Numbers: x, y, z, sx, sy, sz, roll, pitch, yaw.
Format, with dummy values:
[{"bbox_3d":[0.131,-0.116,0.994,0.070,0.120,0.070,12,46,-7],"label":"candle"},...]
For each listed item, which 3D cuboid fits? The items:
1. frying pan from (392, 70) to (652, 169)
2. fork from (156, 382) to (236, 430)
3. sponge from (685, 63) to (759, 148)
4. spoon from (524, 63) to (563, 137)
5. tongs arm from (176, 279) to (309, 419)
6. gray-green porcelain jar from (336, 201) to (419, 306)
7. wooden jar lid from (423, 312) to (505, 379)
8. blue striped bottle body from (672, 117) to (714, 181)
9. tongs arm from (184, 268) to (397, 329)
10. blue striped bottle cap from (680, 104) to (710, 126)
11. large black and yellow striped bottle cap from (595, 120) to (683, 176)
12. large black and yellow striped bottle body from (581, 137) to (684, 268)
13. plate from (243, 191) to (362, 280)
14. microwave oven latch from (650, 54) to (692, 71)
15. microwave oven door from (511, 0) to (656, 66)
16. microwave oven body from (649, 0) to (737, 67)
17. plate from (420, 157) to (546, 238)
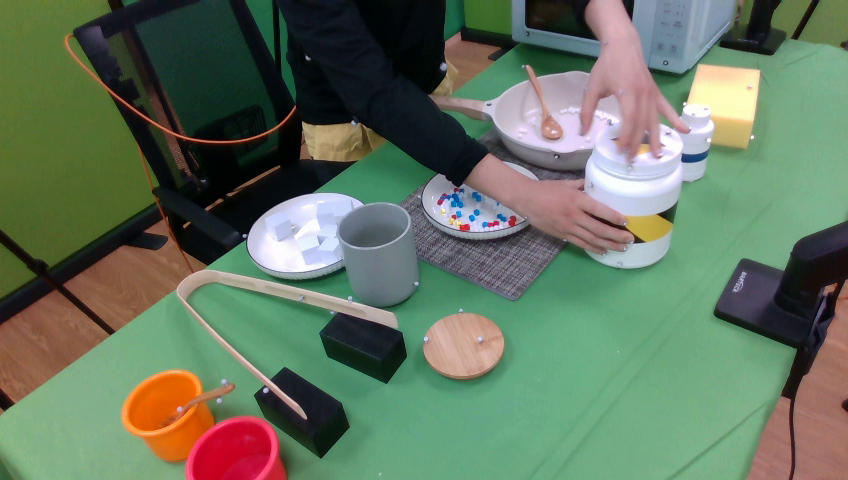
[{"bbox_3d":[0.176,-0.248,1.165,0.487,0.103,0.306,12,43,9],"label":"frying pan"},{"bbox_3d":[-0.262,0.189,0.690,0.018,0.206,0.028,49,43,-7],"label":"fork"},{"bbox_3d":[0.569,-0.263,1.164,0.117,0.061,0.207,12,45,22],"label":"sponge"},{"bbox_3d":[0.234,-0.281,1.203,0.041,0.022,0.192,-13,68,-1],"label":"spoon"},{"bbox_3d":[-0.254,0.133,0.801,0.028,0.028,0.384,-41,40,-23],"label":"tongs arm"},{"bbox_3d":[-0.064,0.024,0.872,0.106,0.127,0.105,-4,41,4],"label":"gray-green porcelain jar"},{"bbox_3d":[0.053,0.142,0.800,0.108,0.021,0.108,-4,39,4],"label":"wooden jar lid"},{"bbox_3d":[0.449,-0.165,1.022,0.063,0.121,0.063,-5,41,4],"label":"blue striped bottle body"},{"bbox_3d":[-0.202,0.084,0.848,0.382,0.027,0.051,11,45,35],"label":"tongs arm"},{"bbox_3d":[0.444,-0.205,0.989,0.044,0.021,0.044,-1,41,2],"label":"blue striped bottle cap"},{"bbox_3d":[0.292,-0.127,0.823,0.115,0.019,0.114,-5,42,5],"label":"large black and yellow striped bottle cap"},{"bbox_3d":[0.300,-0.064,0.879,0.131,0.185,0.130,-4,41,4],"label":"large black and yellow striped bottle body"},{"bbox_3d":[-0.187,-0.005,0.992,0.207,0.039,0.206,-3,41,3],"label":"plate"},{"bbox_3d":[0.530,-0.386,1.301,0.078,0.029,0.030,24,50,32],"label":"microwave oven latch"},{"bbox_3d":[0.351,-0.540,1.349,0.353,0.245,0.039,24,50,31],"label":"microwave oven door"},{"bbox_3d":[0.475,-0.602,1.411,0.438,0.261,0.327,23,50,32],"label":"microwave oven body"},{"bbox_3d":[0.100,-0.068,1.017,0.209,0.038,0.208,-4,40,4],"label":"plate"}]
